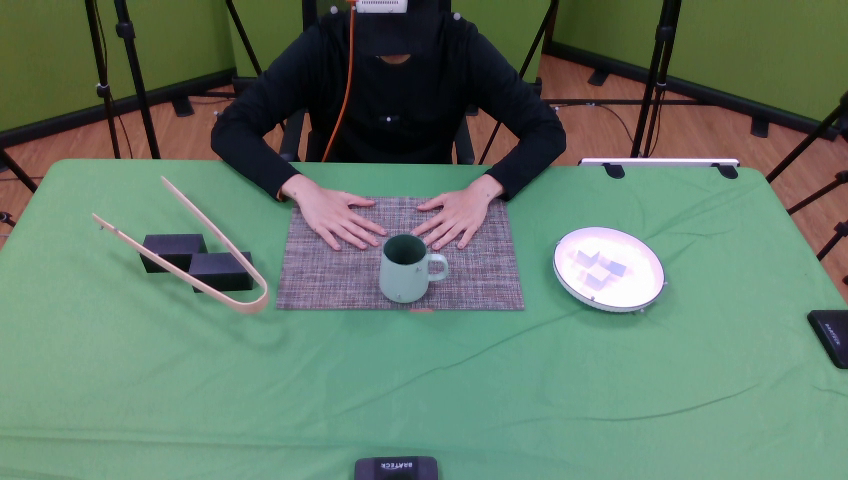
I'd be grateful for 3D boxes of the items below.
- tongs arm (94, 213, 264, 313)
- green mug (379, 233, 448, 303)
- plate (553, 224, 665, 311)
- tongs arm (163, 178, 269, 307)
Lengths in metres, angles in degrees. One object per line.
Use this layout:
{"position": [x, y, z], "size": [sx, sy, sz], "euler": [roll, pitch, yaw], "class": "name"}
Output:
{"position": [-0.437, 0.031, 1.063], "size": [0.383, 0.026, 0.050], "euler": [29, 47, 22], "class": "tongs arm"}
{"position": [-0.019, 0.050, 1.084], "size": [0.125, 0.105, 0.092], "euler": [-1, 46, -4], "class": "green mug"}
{"position": [0.349, 0.055, 1.159], "size": [0.209, 0.038, 0.208], "euler": [2, 47, -2], "class": "plate"}
{"position": [-0.387, -0.008, 1.108], "size": [0.028, 0.028, 0.385], "euler": [-27, 53, -36], "class": "tongs arm"}
